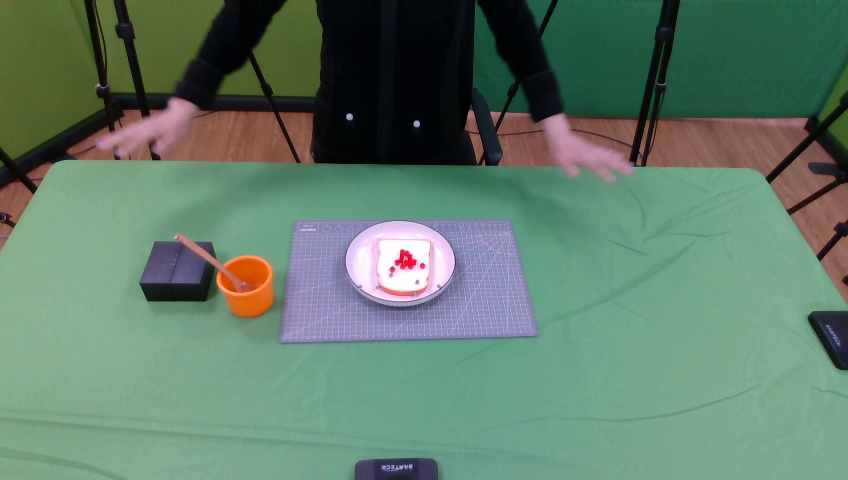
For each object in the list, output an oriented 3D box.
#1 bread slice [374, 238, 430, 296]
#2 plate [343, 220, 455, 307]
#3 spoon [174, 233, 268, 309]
[{"bbox_3d":[-0.039,0.048,1.135,0.107,0.018,0.133,-1,47,-4],"label":"bread slice"},{"bbox_3d":[-0.047,0.046,1.135,0.209,0.038,0.208,2,46,-2],"label":"plate"},{"bbox_3d":[-0.344,0.052,1.033,0.021,0.194,0.041,-19,32,42],"label":"spoon"}]
